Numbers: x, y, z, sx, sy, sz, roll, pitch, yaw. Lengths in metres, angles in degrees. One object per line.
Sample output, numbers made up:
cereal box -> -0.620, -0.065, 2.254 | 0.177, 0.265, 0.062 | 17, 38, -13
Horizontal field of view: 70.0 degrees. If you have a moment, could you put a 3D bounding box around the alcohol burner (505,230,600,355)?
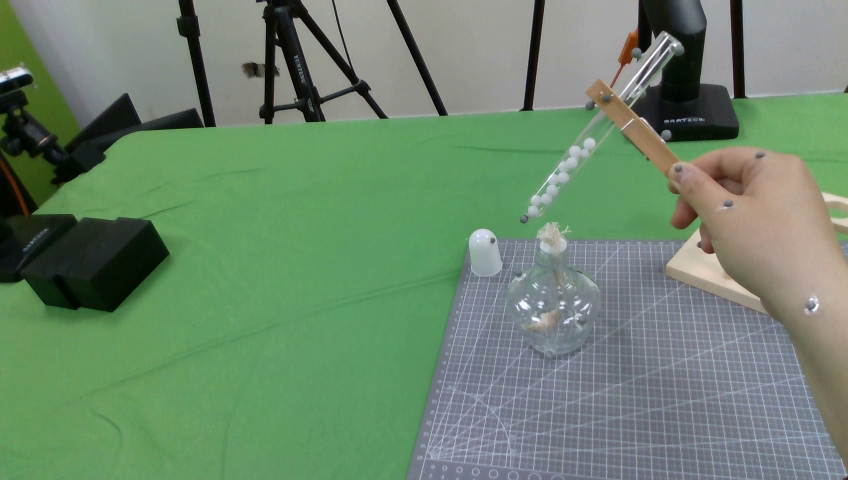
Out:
alcohol burner -> 0.103, 0.037, 0.491 | 0.078, 0.120, 0.077 | -6, 40, 6

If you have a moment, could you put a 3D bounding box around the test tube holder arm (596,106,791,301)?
test tube holder arm -> 0.168, -0.035, 0.392 | 0.177, 0.015, 0.013 | 54, 23, 17

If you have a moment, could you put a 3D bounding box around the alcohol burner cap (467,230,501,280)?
alcohol burner cap -> 0.058, 0.012, 0.594 | 0.034, 0.048, 0.033 | -6, 40, 6

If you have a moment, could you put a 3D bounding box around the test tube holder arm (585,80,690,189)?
test tube holder arm -> 0.140, -0.070, 0.398 | 0.087, 0.015, 0.010 | 51, 22, 9

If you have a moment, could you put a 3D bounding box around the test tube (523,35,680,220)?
test tube -> 0.117, -0.072, 0.415 | 0.017, 0.150, 0.017 | 31, 24, -14

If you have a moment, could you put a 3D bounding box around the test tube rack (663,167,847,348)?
test tube rack -> 0.320, 0.024, 0.472 | 0.240, 0.086, 0.066 | 25, 51, 38
